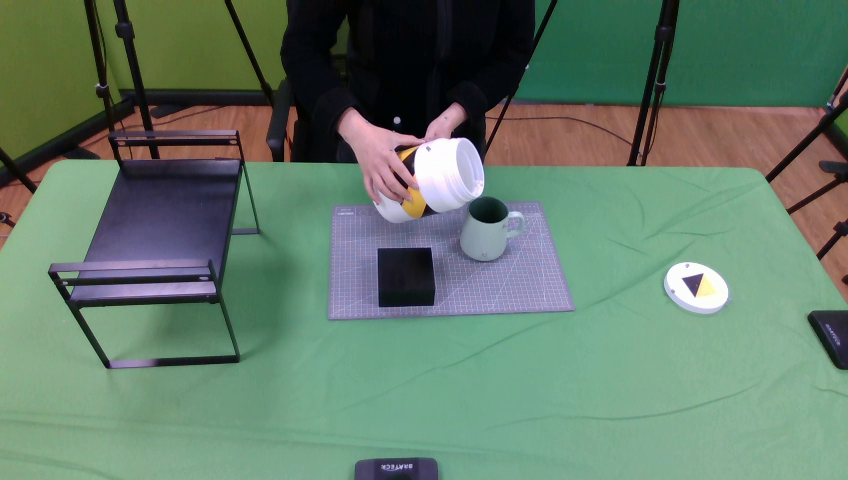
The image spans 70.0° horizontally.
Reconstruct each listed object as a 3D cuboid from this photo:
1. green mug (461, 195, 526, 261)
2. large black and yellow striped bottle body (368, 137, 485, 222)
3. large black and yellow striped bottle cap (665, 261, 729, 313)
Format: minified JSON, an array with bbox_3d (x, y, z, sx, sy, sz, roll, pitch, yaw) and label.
[{"bbox_3d":[0.136,-0.024,1.168,0.125,0.105,0.092,-7,47,-10],"label":"green mug"},{"bbox_3d":[0.006,-0.112,1.106,0.183,0.131,0.130,-13,38,31],"label":"large black and yellow striped bottle body"},{"bbox_3d":[0.518,0.087,1.152,0.115,0.019,0.114,2,47,-2],"label":"large black and yellow striped bottle cap"}]
